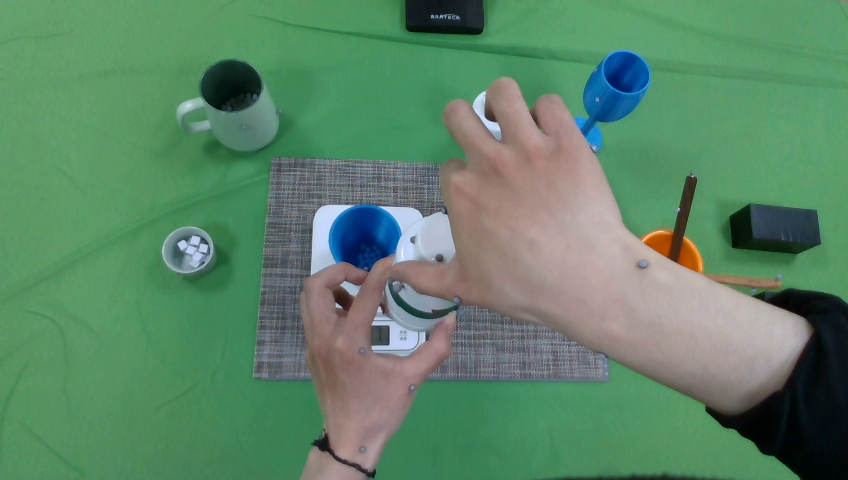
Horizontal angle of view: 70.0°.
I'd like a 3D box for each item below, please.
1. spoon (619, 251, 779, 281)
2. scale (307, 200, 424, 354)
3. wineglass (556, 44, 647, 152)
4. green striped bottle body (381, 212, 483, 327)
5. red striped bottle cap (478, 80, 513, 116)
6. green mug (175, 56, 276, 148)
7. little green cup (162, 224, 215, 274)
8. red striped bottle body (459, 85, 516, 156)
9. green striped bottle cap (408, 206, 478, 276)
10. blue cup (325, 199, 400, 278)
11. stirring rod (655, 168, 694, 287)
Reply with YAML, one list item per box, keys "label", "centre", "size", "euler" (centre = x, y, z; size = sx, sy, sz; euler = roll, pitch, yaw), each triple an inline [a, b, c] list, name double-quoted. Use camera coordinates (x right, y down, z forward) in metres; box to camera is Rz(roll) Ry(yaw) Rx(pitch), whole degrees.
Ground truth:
- label: "spoon"
  centre: [0.343, 0.039, 0.774]
  size: [0.022, 0.192, 0.041]
  euler: [25, 75, -44]
- label: "scale"
  centre: [-0.075, 0.046, 0.788]
  size: [0.149, 0.032, 0.199]
  euler: [0, 74, -5]
- label: "wineglass"
  centre: [0.234, -0.186, 0.816]
  size: [0.074, 0.173, 0.073]
  euler: [1, 73, -4]
- label: "green striped bottle body"
  centre: [0.005, 0.021, 0.448]
  size: [0.063, 0.120, 0.062]
  euler: [4, 68, -9]
- label: "red striped bottle cap"
  centre: [0.092, -0.182, 0.773]
  size: [0.044, 0.018, 0.044]
  euler: [2, 71, -4]
- label: "green mug"
  centre: [-0.263, -0.175, 0.800]
  size: [0.125, 0.105, 0.092]
  euler: [-20, 77, -11]
- label: "little green cup"
  centre: [-0.298, 0.014, 0.775]
  size: [0.061, 0.039, 0.061]
  euler: [2, 73, -6]
- label: "red striped bottle body"
  centre: [0.087, -0.167, 0.824]
  size: [0.063, 0.120, 0.062]
  euler: [2, 73, -5]
- label: "green striped bottle cap"
  centre: [0.013, 0.000, 0.399]
  size: [0.044, 0.020, 0.044]
  euler: [6, 65, -12]
- label: "blue cup"
  centre: [-0.074, 0.007, 0.731]
  size: [0.093, 0.100, 0.092]
  euler: [2, 76, -7]
- label: "stirring rod"
  centre: [0.324, -0.011, 0.787]
  size: [0.014, 0.177, 0.006]
  euler: [6, 32, 10]
